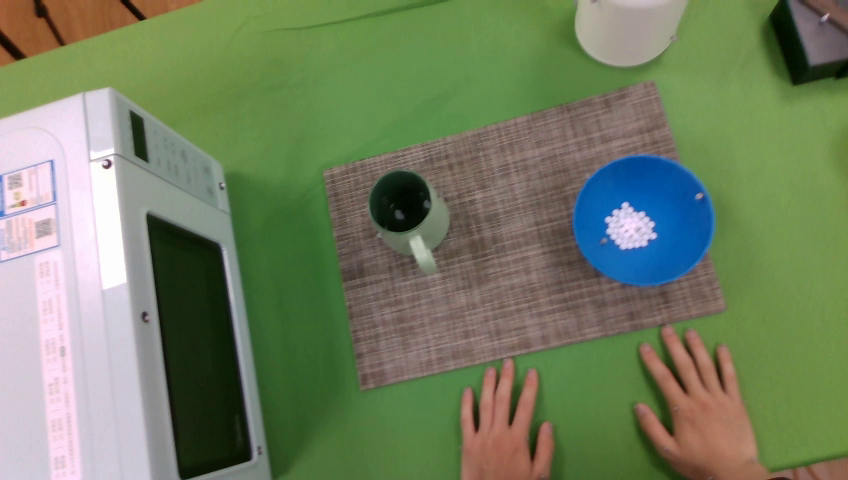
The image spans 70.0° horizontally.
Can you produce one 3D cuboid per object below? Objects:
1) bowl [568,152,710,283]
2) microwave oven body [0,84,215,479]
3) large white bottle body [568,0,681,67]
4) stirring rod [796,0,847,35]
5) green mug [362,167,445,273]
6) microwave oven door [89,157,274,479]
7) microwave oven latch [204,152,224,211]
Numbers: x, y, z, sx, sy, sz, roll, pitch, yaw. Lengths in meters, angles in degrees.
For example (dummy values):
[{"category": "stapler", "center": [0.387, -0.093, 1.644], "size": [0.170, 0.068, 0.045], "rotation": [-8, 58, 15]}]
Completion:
[{"category": "bowl", "center": [0.243, -0.019, 0.709], "size": [0.151, 0.077, 0.150], "rotation": [-2, 78, 10]}, {"category": "microwave oven body", "center": [-0.408, 0.110, 0.695], "size": [0.326, 0.261, 0.439], "rotation": [-15, 77, 5]}, {"category": "large white bottle body", "center": [0.241, -0.305, 0.715], "size": [0.130, 0.185, 0.130], "rotation": [-2, 78, 9]}, {"category": "stirring rod", "center": [0.496, -0.241, 0.699], "size": [0.175, 0.006, 0.014], "rotation": [44, 122, 14]}, {"category": "green mug", "center": [-0.019, -0.020, 0.738], "size": [0.092, 0.105, 0.124], "rotation": [-23, 76, 4]}, {"category": "microwave oven door", "center": [-0.259, 0.110, 0.666], "size": [0.039, 0.245, 0.354], "rotation": [-16, 76, 6]}, {"category": "microwave oven latch", "center": [-0.291, -0.075, 0.813], "size": [0.030, 0.029, 0.078], "rotation": [-14, 77, 6]}]
